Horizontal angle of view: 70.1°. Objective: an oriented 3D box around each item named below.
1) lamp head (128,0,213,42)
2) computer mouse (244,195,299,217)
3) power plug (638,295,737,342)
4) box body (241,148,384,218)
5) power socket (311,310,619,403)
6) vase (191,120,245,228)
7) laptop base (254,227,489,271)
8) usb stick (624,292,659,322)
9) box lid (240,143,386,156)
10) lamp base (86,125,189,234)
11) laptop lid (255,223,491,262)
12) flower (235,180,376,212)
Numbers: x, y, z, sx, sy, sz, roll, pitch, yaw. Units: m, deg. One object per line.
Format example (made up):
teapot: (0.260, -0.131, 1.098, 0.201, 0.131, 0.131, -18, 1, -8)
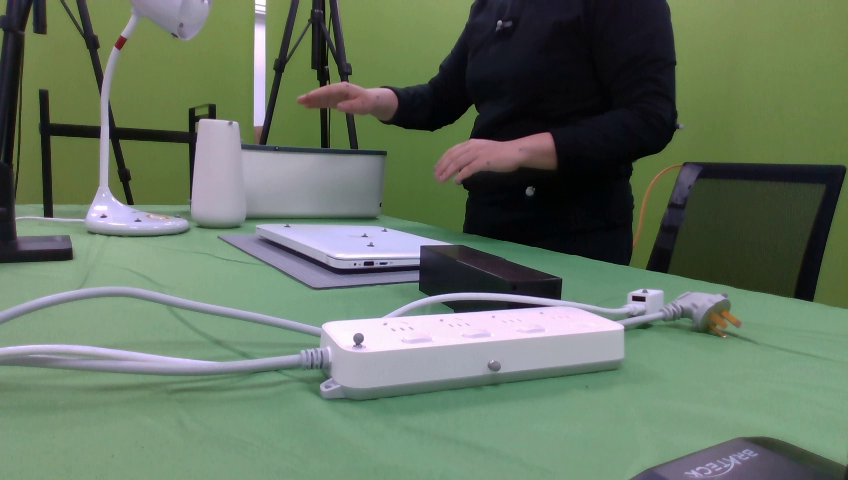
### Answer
lamp head: (-0.423, -0.394, 0.980, 0.123, 0.112, 0.112, 20, 7, -3)
computer mouse: (-0.346, -0.077, 1.372, 0.118, 0.041, 0.062, -11, 18, -33)
power plug: (0.235, 0.078, 0.536, 0.072, 0.035, 0.052, -35, 41, -4)
box body: (-0.306, -0.144, 1.474, 0.366, 0.160, 0.253, -1, 9, -30)
power socket: (0.034, 0.074, 0.415, 0.228, 0.032, 0.072, -1, 7, -24)
vase: (-0.389, -0.124, 1.142, 0.098, 0.200, 0.098, 3, 9, 0)
laptop base: (-0.096, 0.012, 0.911, 0.237, 0.023, 0.352, 2, 6, -32)
usb stick: (0.211, 0.064, 0.581, 0.021, 0.027, 0.059, -1, -4, 36)
box lid: (-0.304, -0.217, 1.463, 0.373, 0.015, 0.262, -2, 8, -30)
lamp base: (-0.497, -0.105, 1.027, 0.179, 0.180, 0.160, 1, 7, 3)
laptop lid: (-0.093, 0.000, 0.911, 0.243, 0.013, 0.355, 1, 7, -30)
flower: (-0.264, -0.092, 1.416, 0.364, 0.038, 0.044, 8, -41, -39)
